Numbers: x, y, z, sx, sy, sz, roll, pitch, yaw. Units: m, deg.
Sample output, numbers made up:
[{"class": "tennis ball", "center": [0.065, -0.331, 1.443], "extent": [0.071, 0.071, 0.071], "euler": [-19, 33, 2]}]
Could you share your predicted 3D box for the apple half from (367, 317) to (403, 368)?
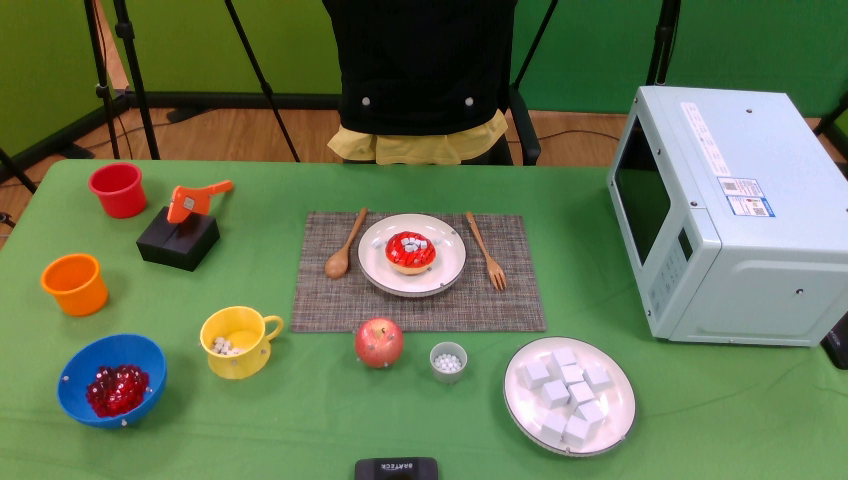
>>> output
[{"class": "apple half", "center": [-0.061, 0.167, 0.998], "extent": [0.053, 0.075, 0.080], "euler": [-11, 44, -20]}]

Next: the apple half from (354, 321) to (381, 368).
[{"class": "apple half", "center": [-0.097, 0.176, 0.985], "extent": [0.033, 0.081, 0.080], "euler": [-12, 48, -20]}]

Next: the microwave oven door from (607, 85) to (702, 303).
[{"class": "microwave oven door", "center": [0.423, -0.094, 1.141], "extent": [0.039, 0.245, 0.353], "euler": [2, 46, -1]}]

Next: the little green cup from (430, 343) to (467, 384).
[{"class": "little green cup", "center": [0.039, 0.203, 0.994], "extent": [0.061, 0.039, 0.061], "euler": [2, 46, -2]}]

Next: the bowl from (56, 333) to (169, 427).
[{"class": "bowl", "center": [-0.456, 0.223, 0.911], "extent": [0.151, 0.077, 0.150], "euler": [3, 46, -2]}]

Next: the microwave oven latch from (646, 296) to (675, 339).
[{"class": "microwave oven latch", "center": [0.412, 0.134, 1.061], "extent": [0.030, 0.029, 0.078], "euler": [4, 45, 1]}]

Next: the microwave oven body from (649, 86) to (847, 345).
[{"class": "microwave oven body", "center": [0.568, -0.053, 1.118], "extent": [0.326, 0.261, 0.439], "euler": [2, 45, -1]}]

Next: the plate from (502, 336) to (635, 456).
[{"class": "plate", "center": [0.225, 0.248, 0.963], "extent": [0.208, 0.039, 0.206], "euler": [2, 46, -2]}]

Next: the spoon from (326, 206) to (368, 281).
[{"class": "spoon", "center": [-0.145, 0.002, 1.187], "extent": [0.041, 0.022, 0.193], "euler": [11, 47, 8]}]

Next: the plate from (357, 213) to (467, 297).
[{"class": "plate", "center": [-0.023, 0.032, 1.150], "extent": [0.209, 0.038, 0.208], "euler": [2, 46, -2]}]

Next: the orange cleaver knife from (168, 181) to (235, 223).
[{"class": "orange cleaver knife", "center": [-0.436, -0.078, 1.196], "extent": [0.012, 0.077, 0.211], "euler": [16, 15, 10]}]

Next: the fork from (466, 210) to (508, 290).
[{"class": "fork", "center": [0.120, 0.016, 1.188], "extent": [0.028, 0.019, 0.206], "euler": [-17, 48, -5]}]

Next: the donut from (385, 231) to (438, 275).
[{"class": "donut", "center": [-0.024, 0.024, 1.142], "extent": [0.099, 0.048, 0.098], "euler": [3, 44, -2]}]

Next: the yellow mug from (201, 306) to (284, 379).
[{"class": "yellow mug", "center": [-0.291, 0.160, 0.993], "extent": [0.131, 0.064, 0.099], "euler": [-23, 51, -25]}]
